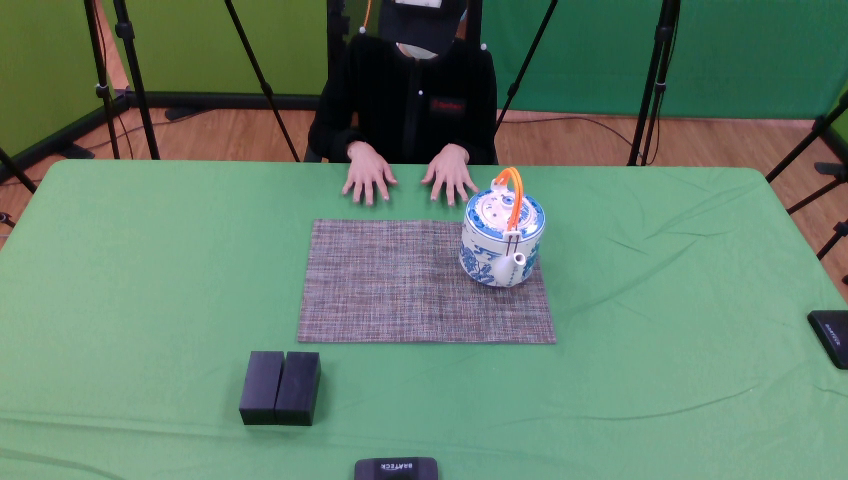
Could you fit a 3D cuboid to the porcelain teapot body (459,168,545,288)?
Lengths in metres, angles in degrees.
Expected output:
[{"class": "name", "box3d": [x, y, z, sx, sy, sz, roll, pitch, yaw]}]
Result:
[{"class": "porcelain teapot body", "box3d": [0.146, -0.006, 1.070, 0.145, 0.226, 0.204, -4, 46, -8]}]

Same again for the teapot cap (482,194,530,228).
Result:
[{"class": "teapot cap", "box3d": [0.145, -0.055, 1.062, 0.085, 0.044, 0.084, 3, 47, -3]}]
